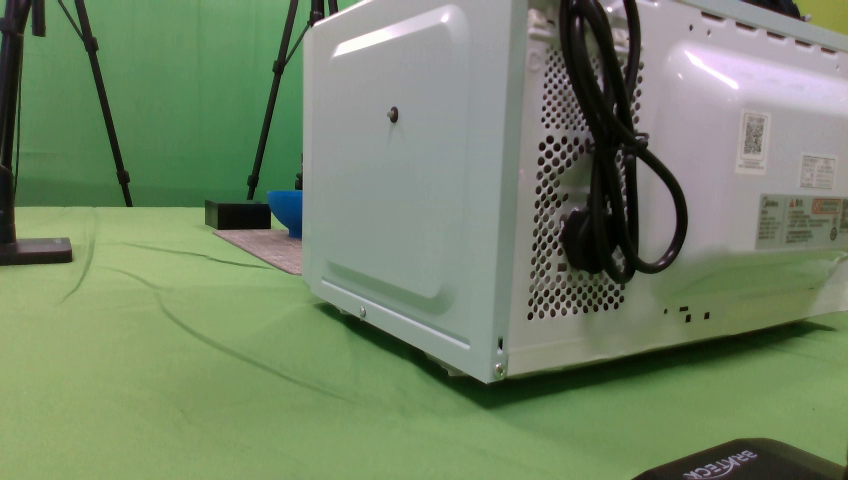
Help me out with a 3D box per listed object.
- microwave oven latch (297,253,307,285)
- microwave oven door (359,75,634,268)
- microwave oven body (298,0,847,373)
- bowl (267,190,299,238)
[{"bbox_3d":[-0.082,0.027,0.582,0.079,0.029,0.030,-1,7,-32],"label":"microwave oven latch"},{"bbox_3d":[0.088,-0.097,0.816,0.355,0.243,0.039,4,8,12],"label":"microwave oven door"},{"bbox_3d":[0.151,-0.055,0.543,0.444,0.260,0.324,-1,7,-33],"label":"microwave oven body"},{"bbox_3d":[-0.202,-0.046,1.070,0.151,0.077,0.151,3,7,0],"label":"bowl"}]
